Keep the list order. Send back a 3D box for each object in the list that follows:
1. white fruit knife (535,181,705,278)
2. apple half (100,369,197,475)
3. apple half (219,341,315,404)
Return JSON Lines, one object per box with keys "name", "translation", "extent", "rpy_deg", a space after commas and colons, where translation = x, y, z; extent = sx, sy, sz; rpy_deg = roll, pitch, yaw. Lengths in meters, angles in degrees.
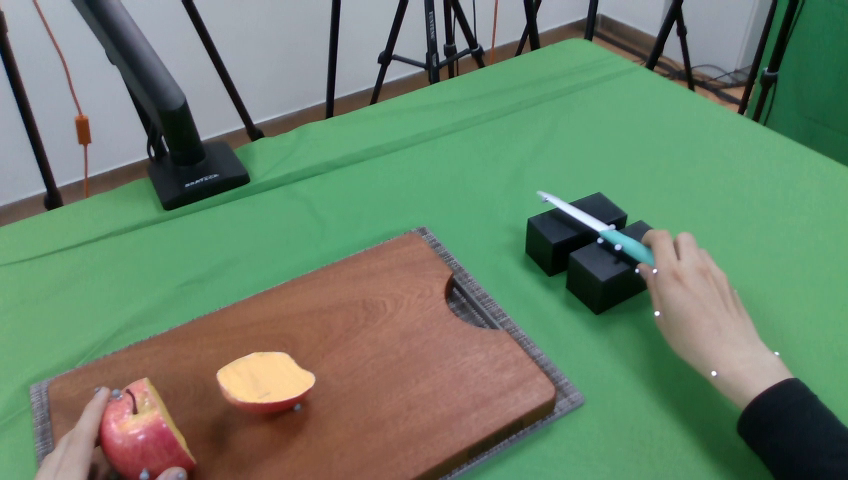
{"name": "white fruit knife", "translation": [0.196, -0.016, 0.639], "extent": [0.027, 0.016, 0.205], "rpy_deg": [-15, 40, -42]}
{"name": "apple half", "translation": [-0.222, 0.151, 0.479], "extent": [0.053, 0.075, 0.080], "rpy_deg": [-33, 52, -23]}
{"name": "apple half", "translation": [-0.139, 0.122, 0.527], "extent": [0.081, 0.033, 0.081], "rpy_deg": [9, 22, -3]}
